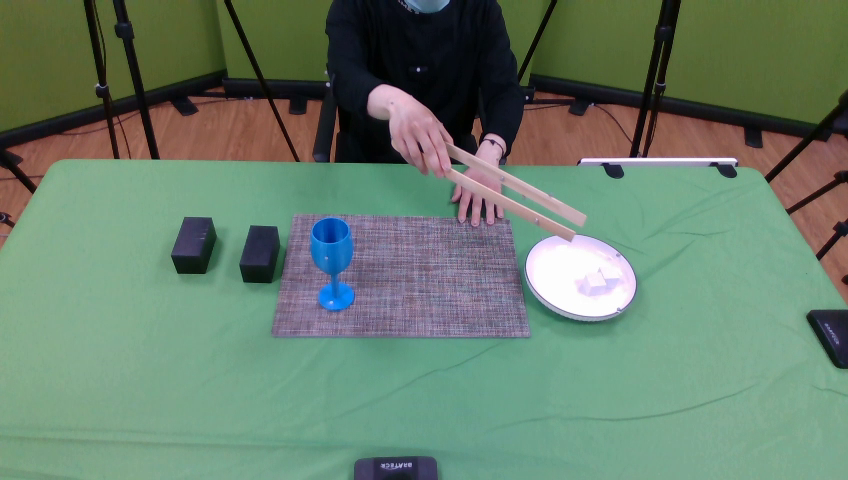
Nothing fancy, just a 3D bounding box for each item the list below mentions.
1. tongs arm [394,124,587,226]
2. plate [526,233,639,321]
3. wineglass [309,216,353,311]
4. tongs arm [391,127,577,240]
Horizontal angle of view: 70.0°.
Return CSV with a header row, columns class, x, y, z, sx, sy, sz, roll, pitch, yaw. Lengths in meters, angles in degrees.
class,x,y,z,sx,sy,sz,roll,pitch,yaw
tongs arm,0.109,-0.117,1.084,0.383,0.026,0.050,32,47,19
plate,0.292,0.071,1.135,0.209,0.038,0.208,2,46,-2
wineglass,-0.156,0.043,1.032,0.074,0.173,0.073,2,46,-2
tongs arm,0.093,-0.101,1.062,0.386,0.028,0.028,30,50,18
